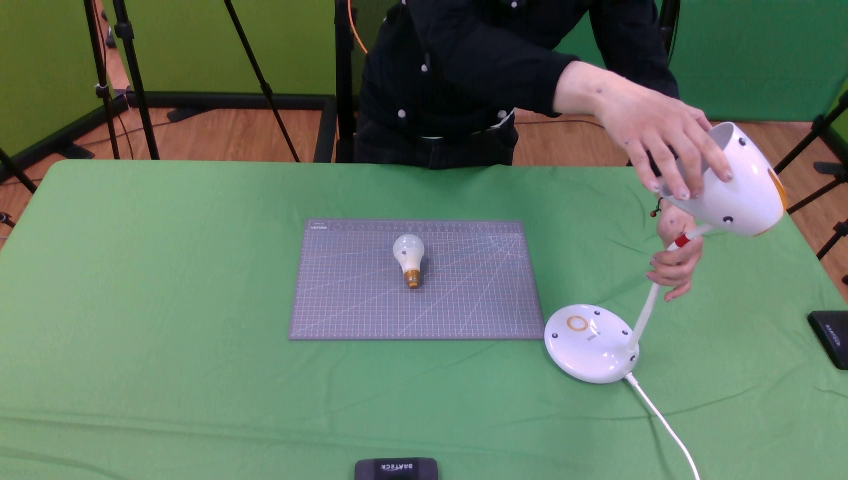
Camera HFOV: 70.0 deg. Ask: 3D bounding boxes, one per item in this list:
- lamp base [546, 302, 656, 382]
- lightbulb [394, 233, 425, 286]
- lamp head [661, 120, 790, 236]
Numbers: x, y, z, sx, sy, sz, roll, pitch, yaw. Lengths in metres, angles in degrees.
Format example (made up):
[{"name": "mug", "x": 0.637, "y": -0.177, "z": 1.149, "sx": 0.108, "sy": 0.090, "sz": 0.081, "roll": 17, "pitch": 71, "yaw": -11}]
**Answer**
[{"name": "lamp base", "x": 0.303, "y": 0.127, "z": 0.982, "sx": 0.160, "sy": 0.181, "sz": 0.178, "roll": -34, "pitch": 60, "yaw": -29}, {"name": "lightbulb", "x": -0.024, "y": 0.037, "z": 1.134, "sx": 0.059, "sy": 0.060, "sz": 0.107, "roll": -4, "pitch": 63, "yaw": -7}, {"name": "lamp head", "x": 0.357, "y": -0.058, "z": 0.708, "sx": 0.123, "sy": 0.112, "sz": 0.112, "roll": 40, "pitch": 50, "yaw": -9}]
